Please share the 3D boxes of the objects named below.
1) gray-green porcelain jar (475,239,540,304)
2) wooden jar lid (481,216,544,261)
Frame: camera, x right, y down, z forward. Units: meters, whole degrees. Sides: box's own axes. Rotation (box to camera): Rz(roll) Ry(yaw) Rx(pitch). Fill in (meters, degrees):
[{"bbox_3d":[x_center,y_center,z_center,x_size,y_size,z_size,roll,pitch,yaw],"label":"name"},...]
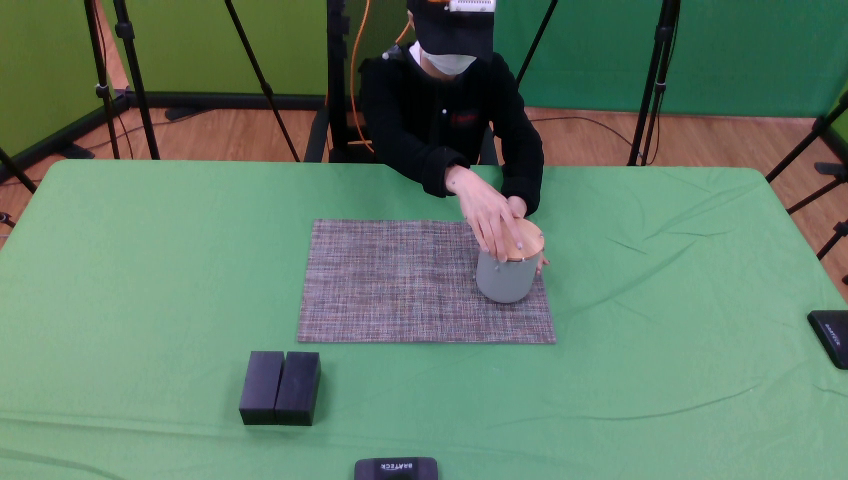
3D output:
[{"bbox_3d":[0.148,0.044,1.090,0.106,0.127,0.105,2,46,-2],"label":"gray-green porcelain jar"},{"bbox_3d":[0.152,0.001,1.044,0.108,0.021,0.107,2,43,-2],"label":"wooden jar lid"}]
